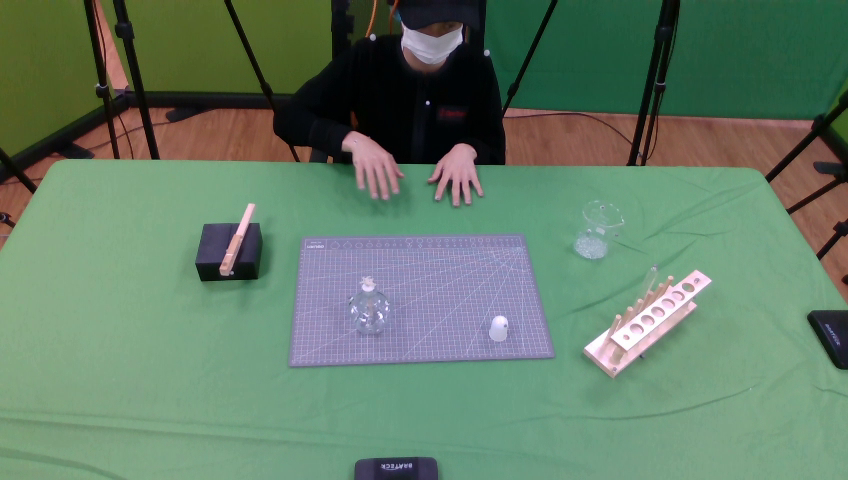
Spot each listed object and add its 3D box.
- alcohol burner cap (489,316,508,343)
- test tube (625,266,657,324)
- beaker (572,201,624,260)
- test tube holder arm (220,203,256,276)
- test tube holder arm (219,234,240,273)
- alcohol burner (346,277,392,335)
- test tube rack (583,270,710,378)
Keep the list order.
[{"bbox_3d":[0.130,0.151,1.045,0.034,0.048,0.033,2,46,-2],"label":"alcohol burner cap"},{"bbox_3d":[0.367,0.097,1.027,0.017,0.151,0.017,1,46,-1],"label":"test tube"},{"bbox_3d":[0.338,-0.015,1.186,0.084,0.101,0.074,21,49,15],"label":"beaker"},{"bbox_3d":[-0.340,-0.005,1.112,0.015,0.013,0.177,5,46,2],"label":"test tube holder arm"},{"bbox_3d":[-0.344,0.023,1.076,0.015,0.010,0.087,5,45,2],"label":"test tube holder arm"},{"bbox_3d":[-0.093,0.106,1.021,0.078,0.120,0.077,1,46,-1],"label":"alcohol burner"},{"bbox_3d":[0.389,0.133,1.057,0.242,0.085,0.066,-29,54,-28],"label":"test tube rack"}]
